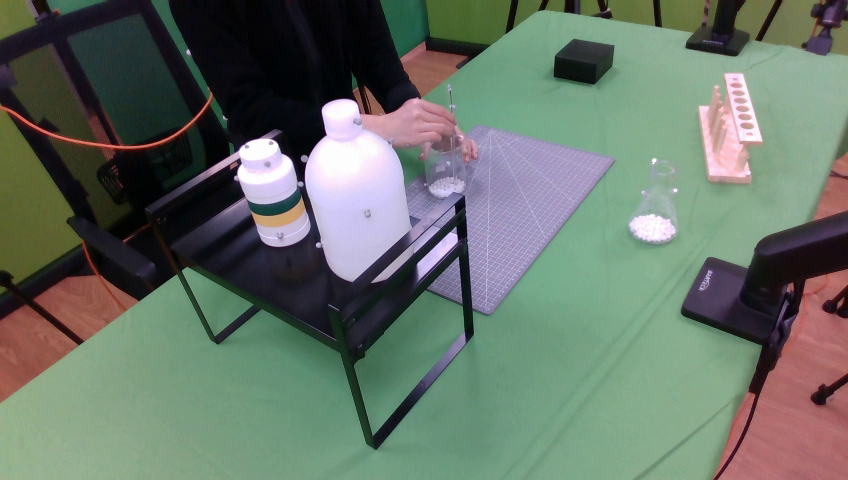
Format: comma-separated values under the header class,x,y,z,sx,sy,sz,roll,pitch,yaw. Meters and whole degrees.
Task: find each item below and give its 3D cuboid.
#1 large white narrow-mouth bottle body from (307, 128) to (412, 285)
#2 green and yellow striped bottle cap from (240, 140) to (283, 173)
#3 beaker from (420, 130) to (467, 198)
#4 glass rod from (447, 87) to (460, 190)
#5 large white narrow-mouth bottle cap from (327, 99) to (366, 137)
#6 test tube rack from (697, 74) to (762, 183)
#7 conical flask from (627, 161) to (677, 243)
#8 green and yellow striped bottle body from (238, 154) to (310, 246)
class,x,y,z,sx,sy,sz,roll,pitch,yaw
large white narrow-mouth bottle body,-0.070,-0.051,0.638,0.102,0.195,0.101,-3,40,3
green and yellow striped bottle cap,-0.183,-0.094,0.679,0.045,0.020,0.045,-4,38,4
beaker,0.039,-0.132,1.060,0.084,0.101,0.073,-23,42,-19
glass rod,0.051,-0.164,1.014,0.008,0.200,0.008,-4,41,4
large white narrow-mouth bottle cap,-0.075,-0.118,0.582,0.038,0.024,0.037,-3,40,3
test tube rack,0.547,-0.208,1.095,0.066,0.085,0.242,5,42,15
conical flask,0.355,-0.061,0.921,0.075,0.122,0.075,-4,41,4
green and yellow striped bottle body,-0.178,-0.056,0.714,0.063,0.120,0.063,-4,40,4
